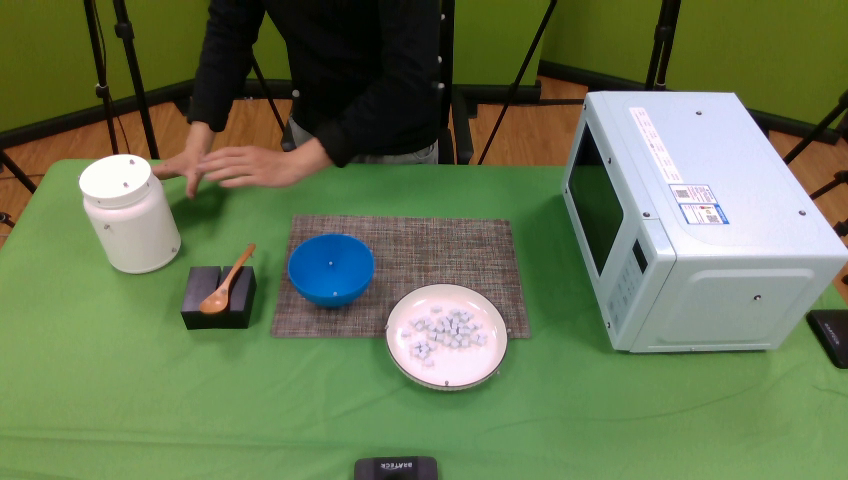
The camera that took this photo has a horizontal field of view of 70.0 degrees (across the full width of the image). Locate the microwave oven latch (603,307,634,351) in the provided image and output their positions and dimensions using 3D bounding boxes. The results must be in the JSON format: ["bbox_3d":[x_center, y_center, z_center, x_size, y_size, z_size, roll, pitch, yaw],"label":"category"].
[{"bbox_3d":[0.332,0.153,1.044,0.030,0.029,0.078,0,45,-4],"label":"microwave oven latch"}]

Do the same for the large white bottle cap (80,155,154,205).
[{"bbox_3d":[-0.520,-0.103,1.027,0.115,0.018,0.114,2,46,-2],"label":"large white bottle cap"}]

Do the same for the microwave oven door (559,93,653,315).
[{"bbox_3d":[0.327,-0.074,1.123,0.039,0.245,0.353,-1,46,-5],"label":"microwave oven door"}]

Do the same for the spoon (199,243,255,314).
[{"bbox_3d":[-0.333,0.062,1.051,0.041,0.022,0.193,6,40,9],"label":"spoon"}]

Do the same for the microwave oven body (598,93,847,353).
[{"bbox_3d":[0.475,-0.041,1.109,0.326,0.261,0.438,-1,45,-4],"label":"microwave oven body"}]

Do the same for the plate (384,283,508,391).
[{"bbox_3d":[0.036,0.166,1.029,0.209,0.038,0.208,2,49,-2],"label":"plate"}]

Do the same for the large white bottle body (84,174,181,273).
[{"bbox_3d":[-0.523,-0.045,1.088,0.131,0.185,0.130,2,46,-2],"label":"large white bottle body"}]

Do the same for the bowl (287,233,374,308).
[{"bbox_3d":[-0.164,0.068,1.078,0.151,0.077,0.150,3,46,-3],"label":"bowl"}]
